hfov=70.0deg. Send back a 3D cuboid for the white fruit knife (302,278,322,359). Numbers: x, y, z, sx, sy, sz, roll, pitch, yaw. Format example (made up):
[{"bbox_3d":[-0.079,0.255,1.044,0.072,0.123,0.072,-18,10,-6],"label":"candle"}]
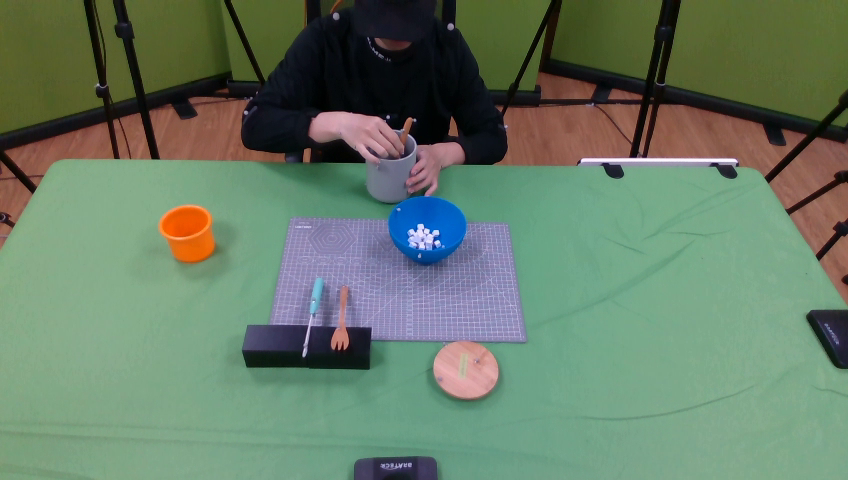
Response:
[{"bbox_3d":[-0.189,0.126,1.020,0.016,0.027,0.206,-1,33,-2],"label":"white fruit knife"}]

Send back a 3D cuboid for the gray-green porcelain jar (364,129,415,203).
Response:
[{"bbox_3d":[-0.072,-0.149,1.264,0.106,0.127,0.105,3,46,-2],"label":"gray-green porcelain jar"}]

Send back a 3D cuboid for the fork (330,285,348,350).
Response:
[{"bbox_3d":[-0.140,0.127,1.021,0.028,0.019,0.206,-5,28,-2],"label":"fork"}]

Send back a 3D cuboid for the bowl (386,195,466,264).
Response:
[{"bbox_3d":[0.003,-0.007,1.162,0.151,0.077,0.150,2,46,-2],"label":"bowl"}]

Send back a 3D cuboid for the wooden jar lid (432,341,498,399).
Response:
[{"bbox_3d":[0.067,0.216,0.997,0.108,0.021,0.107,1,46,-1],"label":"wooden jar lid"}]
